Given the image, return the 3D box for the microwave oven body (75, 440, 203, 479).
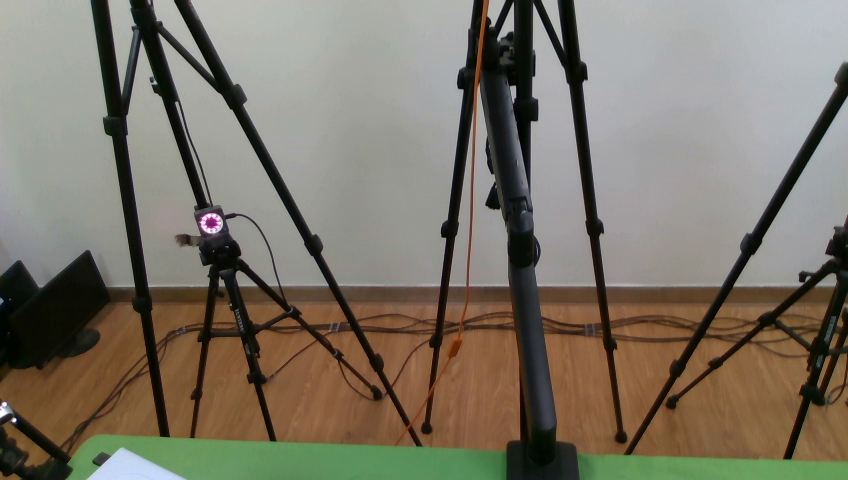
[{"bbox_3d":[-0.381,0.511,0.685,0.324,0.262,0.440,13,39,24],"label":"microwave oven body"}]
